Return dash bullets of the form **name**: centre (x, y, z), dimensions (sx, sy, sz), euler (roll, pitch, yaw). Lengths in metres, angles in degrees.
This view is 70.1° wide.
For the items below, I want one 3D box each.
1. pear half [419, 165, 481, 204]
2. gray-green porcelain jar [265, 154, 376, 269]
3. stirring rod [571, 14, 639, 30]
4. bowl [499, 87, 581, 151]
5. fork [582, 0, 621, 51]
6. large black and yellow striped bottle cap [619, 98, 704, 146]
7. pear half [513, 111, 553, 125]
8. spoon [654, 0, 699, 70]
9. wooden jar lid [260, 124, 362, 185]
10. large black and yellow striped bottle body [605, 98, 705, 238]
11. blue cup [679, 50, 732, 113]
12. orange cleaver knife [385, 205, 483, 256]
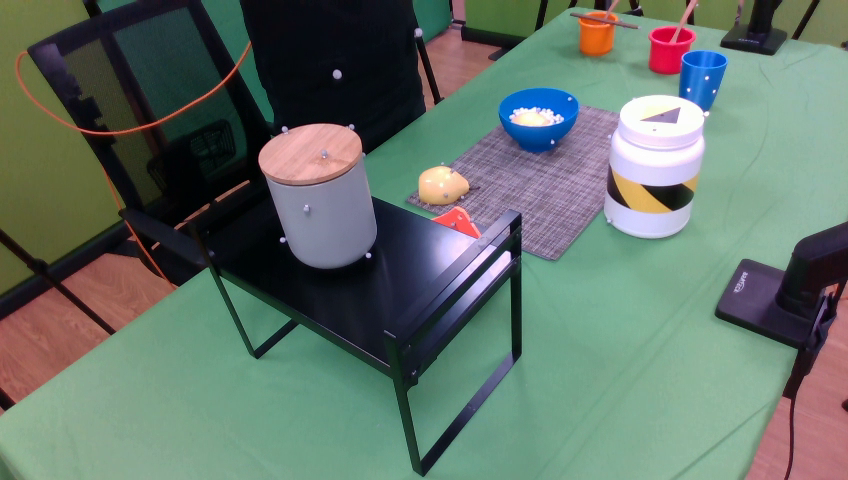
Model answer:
- **pear half**: centre (0.046, -0.103, 1.067), dimensions (0.110, 0.056, 0.076), euler (-3, 46, 0)
- **gray-green porcelain jar**: centre (-0.112, -0.039, 0.685), dimensions (0.106, 0.127, 0.105), euler (-4, 40, 4)
- **stirring rod**: centre (0.418, -0.508, 1.404), dimensions (0.174, 0.006, 0.014), euler (28, 55, 35)
- **bowl**: centre (0.220, -0.223, 1.155), dimensions (0.151, 0.077, 0.150), euler (-4, 40, 4)
- **fork**: centre (0.446, -0.538, 1.438), dimensions (0.207, 0.019, 0.028), euler (-57, 36, 12)
- **large black and yellow striped bottle cap**: centre (0.341, -0.172, 0.872), dimensions (0.115, 0.019, 0.114), euler (-4, 39, 4)
- **pear half**: centre (0.212, -0.227, 1.152), dimensions (0.088, 0.031, 0.070), euler (7, 44, 11)
- **spoon**: centre (0.567, -0.463, 1.337), dimensions (0.041, 0.022, 0.193), euler (30, 97, 38)
- **wooden jar lid**: centre (-0.119, -0.088, 0.644), dimensions (0.108, 0.021, 0.108), euler (-4, 40, 3)
- **large black and yellow striped bottle body**: centre (0.351, -0.110, 0.928), dimensions (0.131, 0.185, 0.130), euler (-5, 41, 5)
- **blue cup**: centre (0.545, -0.309, 1.193), dimensions (0.092, 0.100, 0.092), euler (-4, 39, 3)
- **orange cleaver knife**: centre (0.011, -0.010, 0.942), dimensions (0.012, 0.077, 0.210), euler (-30, 16, -37)
